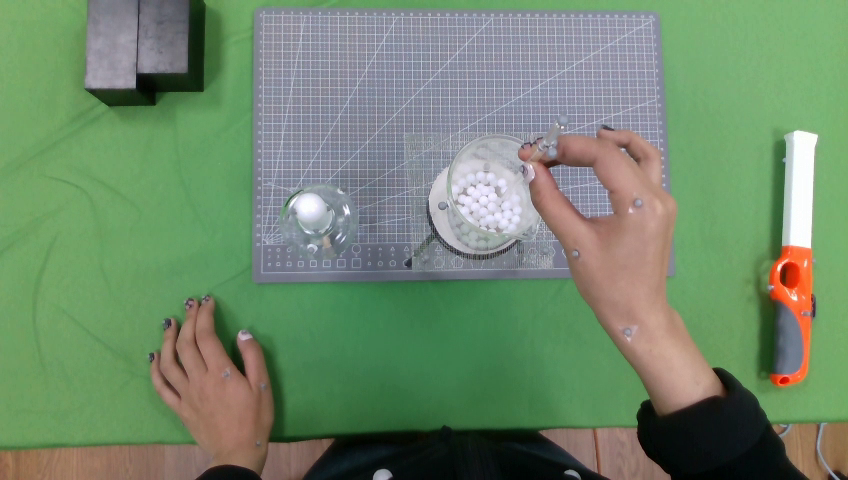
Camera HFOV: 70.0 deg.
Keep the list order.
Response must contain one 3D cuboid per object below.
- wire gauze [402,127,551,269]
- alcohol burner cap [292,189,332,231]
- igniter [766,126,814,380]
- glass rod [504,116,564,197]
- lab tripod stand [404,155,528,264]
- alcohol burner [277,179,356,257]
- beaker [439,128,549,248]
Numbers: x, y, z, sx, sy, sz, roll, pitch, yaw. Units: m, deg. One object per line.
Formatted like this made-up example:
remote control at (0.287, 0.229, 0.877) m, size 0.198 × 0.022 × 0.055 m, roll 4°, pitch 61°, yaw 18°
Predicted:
wire gauze at (0.045, -0.037, 0.519) m, size 0.125 × 0.011 × 0.121 m, roll -2°, pitch 82°, yaw -1°
alcohol burner cap at (-0.104, -0.028, 0.550) m, size 0.034 × 0.048 × 0.033 m, roll 0°, pitch 79°, yaw -1°
igniter at (0.398, 0.013, 0.655) m, size 0.057 × 0.025 × 0.276 m, roll 8°, pitch 84°, yaw -13°
glass rod at (0.071, -0.050, 0.415) m, size 0.008 × 0.200 × 0.008 m, roll 0°, pitch 83°, yaw 0°
lab tripod stand at (0.041, -0.026, 0.584) m, size 0.148 × 0.132 × 0.148 m, roll 0°, pitch 83°, yaw -1°
alcohol burner at (-0.106, -0.025, 0.585) m, size 0.078 × 0.119 × 0.077 m, roll 1°, pitch 81°, yaw -3°
beaker at (0.051, -0.032, 0.470) m, size 0.074 × 0.100 × 0.084 m, roll -33°, pitch 85°, yaw -6°
